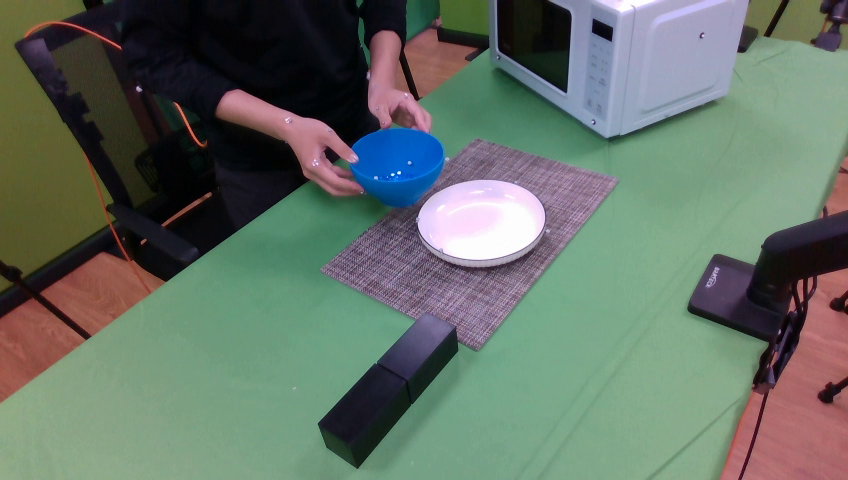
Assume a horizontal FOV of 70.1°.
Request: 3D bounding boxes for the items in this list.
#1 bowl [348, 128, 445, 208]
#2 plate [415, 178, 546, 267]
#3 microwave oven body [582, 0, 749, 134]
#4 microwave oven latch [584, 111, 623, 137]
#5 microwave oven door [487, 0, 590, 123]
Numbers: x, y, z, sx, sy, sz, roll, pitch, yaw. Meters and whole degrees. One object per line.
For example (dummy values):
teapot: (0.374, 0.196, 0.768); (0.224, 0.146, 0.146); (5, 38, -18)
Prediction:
bowl: (-0.040, -0.104, 0.951); (0.151, 0.077, 0.150); (-1, 41, 1)
plate: (0.091, -0.026, 0.970); (0.207, 0.039, 0.206); (-4, 41, 4)
microwave oven body: (0.382, -0.444, 1.246); (0.327, 0.261, 0.437); (-22, 42, -16)
microwave oven latch: (0.337, -0.222, 1.142); (0.030, 0.029, 0.078); (-21, 42, -14)
microwave oven door: (0.232, -0.420, 1.230); (0.039, 0.245, 0.352); (-22, 43, -16)
